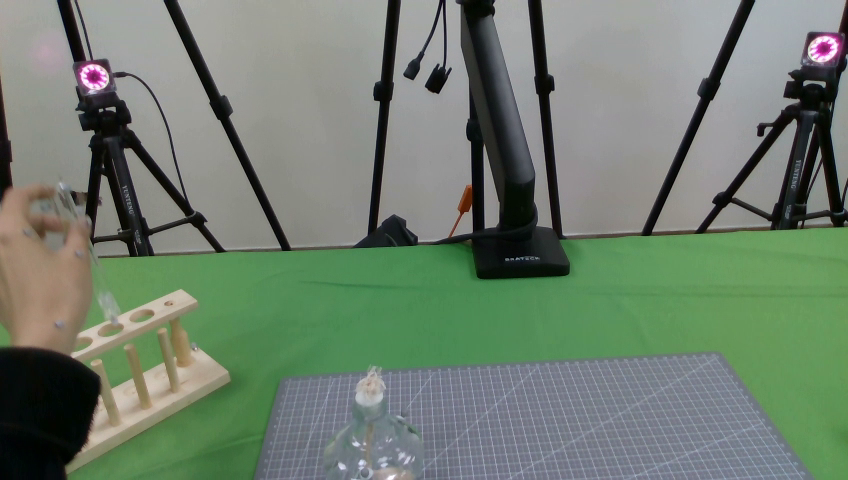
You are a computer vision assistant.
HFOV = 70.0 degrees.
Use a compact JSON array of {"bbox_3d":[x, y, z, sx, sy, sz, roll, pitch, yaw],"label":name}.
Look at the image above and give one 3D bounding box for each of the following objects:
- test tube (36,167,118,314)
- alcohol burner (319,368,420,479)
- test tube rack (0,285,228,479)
[{"bbox_3d":[-0.283,0.006,0.500,0.017,0.151,0.017,1,40,0],"label":"test tube"},{"bbox_3d":[-0.042,0.148,0.461,0.078,0.120,0.077,-1,26,1],"label":"alcohol burner"},{"bbox_3d":[-0.307,0.135,0.537,0.066,0.086,0.242,23,37,38],"label":"test tube rack"}]
